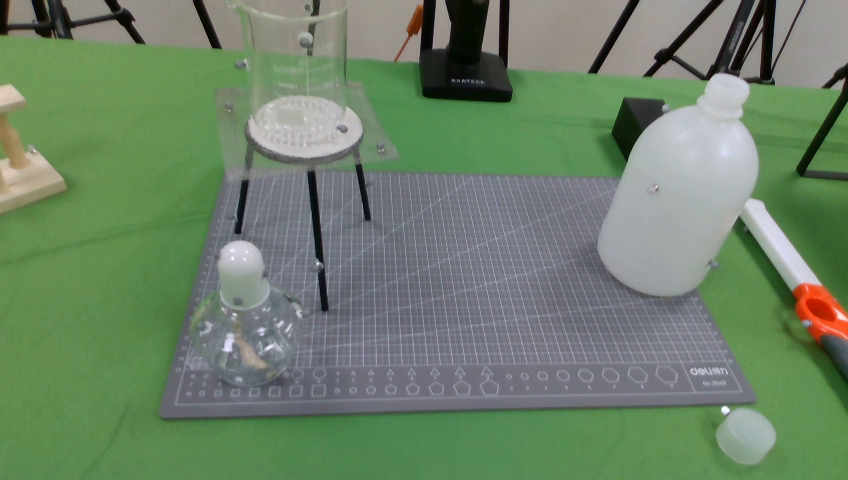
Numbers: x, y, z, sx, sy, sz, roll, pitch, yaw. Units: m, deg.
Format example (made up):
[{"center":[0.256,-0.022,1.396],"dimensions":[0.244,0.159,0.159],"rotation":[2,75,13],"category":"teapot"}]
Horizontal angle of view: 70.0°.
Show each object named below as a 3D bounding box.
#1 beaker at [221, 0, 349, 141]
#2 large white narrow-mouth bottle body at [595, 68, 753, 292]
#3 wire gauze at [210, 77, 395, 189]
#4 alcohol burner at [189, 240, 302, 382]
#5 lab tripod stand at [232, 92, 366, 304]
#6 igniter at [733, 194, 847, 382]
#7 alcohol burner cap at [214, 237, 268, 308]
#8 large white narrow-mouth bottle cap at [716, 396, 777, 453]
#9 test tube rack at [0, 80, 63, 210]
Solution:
[{"center":[-0.096,-0.129,0.432],"dimensions":[0.084,0.101,0.073],"rotation":[-4,45,-13],"category":"beaker"},{"center":[0.219,-0.052,0.520],"dimensions":[0.102,0.196,0.101],"rotation":[4,42,-3],"category":"large white narrow-mouth bottle body"},{"center":[-0.096,-0.090,0.464],"dimensions":[0.122,0.011,0.123],"rotation":[-10,49,-16],"category":"wire gauze"},{"center":[-0.125,0.045,0.424],"dimensions":[0.078,0.120,0.077],"rotation":[6,41,-5],"category":"alcohol burner"},{"center":[-0.098,-0.041,0.506],"dimensions":[0.148,0.132,0.147],"rotation":[6,43,-5],"category":"lab tripod stand"},{"center":[0.354,0.049,0.559],"dimensions":[0.057,0.025,0.273],"rotation":[9,41,-14],"category":"igniter"},{"center":[-0.121,0.020,0.398],"dimensions":[0.034,0.048,0.033],"rotation":[4,48,-4],"category":"alcohol burner cap"},{"center":[0.240,0.137,0.451],"dimensions":[0.038,0.024,0.037],"rotation":[4,42,-3],"category":"large white narrow-mouth bottle cap"},{"center":[-0.450,-0.047,0.500],"dimensions":[0.066,0.086,0.242],"rotation":[36,49,28],"category":"test tube rack"}]
